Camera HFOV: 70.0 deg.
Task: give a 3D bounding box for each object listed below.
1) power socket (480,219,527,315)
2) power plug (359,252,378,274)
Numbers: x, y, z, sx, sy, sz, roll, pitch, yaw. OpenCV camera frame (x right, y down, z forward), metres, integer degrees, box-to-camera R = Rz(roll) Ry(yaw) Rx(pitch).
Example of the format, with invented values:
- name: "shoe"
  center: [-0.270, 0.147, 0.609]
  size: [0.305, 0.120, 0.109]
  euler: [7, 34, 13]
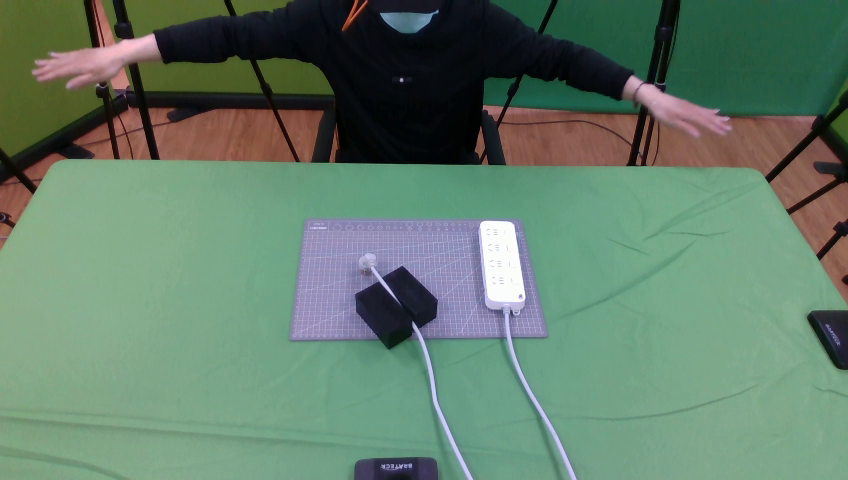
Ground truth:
- name: "power socket"
  center: [0.148, 0.042, 1.150]
  size: [0.072, 0.033, 0.225]
  euler: [2, 47, -1]
- name: "power plug"
  center: [-0.105, 0.051, 1.108]
  size: [0.035, 0.053, 0.072]
  euler: [13, 38, -3]
